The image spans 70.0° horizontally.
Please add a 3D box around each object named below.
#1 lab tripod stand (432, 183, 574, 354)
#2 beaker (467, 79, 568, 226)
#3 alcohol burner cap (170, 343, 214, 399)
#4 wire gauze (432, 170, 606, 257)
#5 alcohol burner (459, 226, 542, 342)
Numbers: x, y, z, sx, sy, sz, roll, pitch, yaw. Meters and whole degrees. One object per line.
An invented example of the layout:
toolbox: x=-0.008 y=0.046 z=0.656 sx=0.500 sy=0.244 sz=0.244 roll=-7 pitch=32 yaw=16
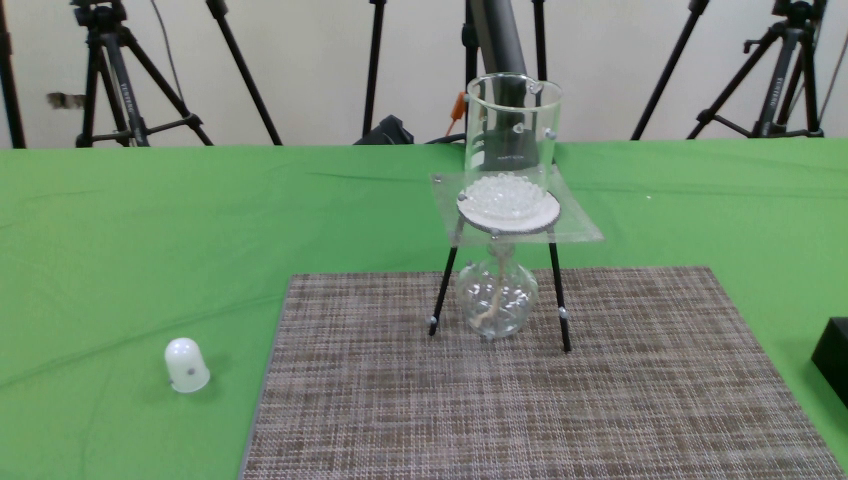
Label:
lab tripod stand: x=0.080 y=0.026 z=0.554 sx=0.148 sy=0.132 sz=0.147 roll=1 pitch=34 yaw=0
beaker: x=0.073 y=-0.070 z=0.491 sx=0.073 sy=0.101 sz=0.084 roll=21 pitch=39 yaw=25
alcohol burner cap: x=-0.202 y=0.111 z=0.523 sx=0.034 sy=0.048 sz=0.033 roll=0 pitch=35 yaw=0
wire gauze: x=0.075 y=-0.025 z=0.513 sx=0.125 sy=0.011 sz=0.120 roll=-1 pitch=36 yaw=-8
alcohol burner: x=0.072 y=0.036 z=0.557 sx=0.078 sy=0.120 sz=0.077 roll=1 pitch=36 yaw=0
